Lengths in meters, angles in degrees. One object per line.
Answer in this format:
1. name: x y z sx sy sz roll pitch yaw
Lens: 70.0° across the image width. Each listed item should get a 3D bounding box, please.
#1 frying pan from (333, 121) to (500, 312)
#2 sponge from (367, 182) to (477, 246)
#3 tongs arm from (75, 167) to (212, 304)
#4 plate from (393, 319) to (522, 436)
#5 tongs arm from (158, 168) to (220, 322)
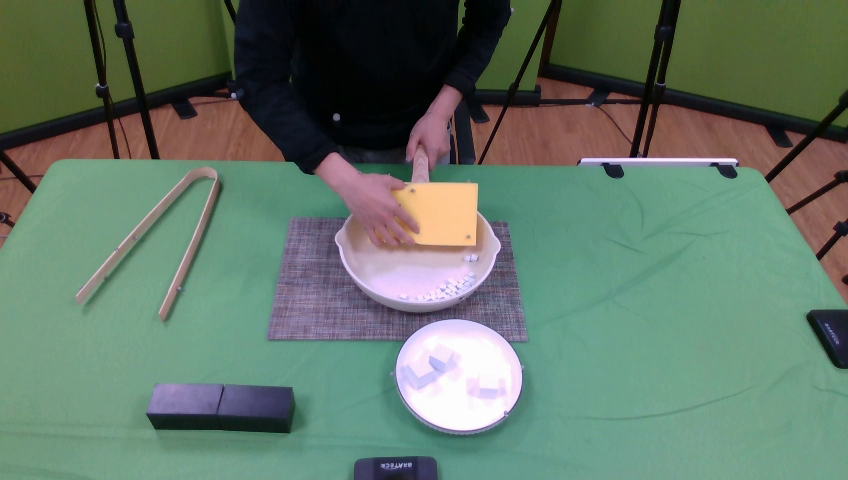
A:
1. frying pan: -0.010 -0.063 1.195 0.307 0.103 0.485 4 55 -2
2. sponge: -0.004 -0.051 1.162 0.207 0.118 0.061 1 8 1
3. tongs arm: -0.525 -0.021 1.167 0.051 0.026 0.383 13 46 7
4. plate: 0.053 0.222 0.979 0.208 0.039 0.206 3 46 -2
5. tongs arm: -0.446 -0.005 1.164 0.028 0.028 0.385 2 46 0
